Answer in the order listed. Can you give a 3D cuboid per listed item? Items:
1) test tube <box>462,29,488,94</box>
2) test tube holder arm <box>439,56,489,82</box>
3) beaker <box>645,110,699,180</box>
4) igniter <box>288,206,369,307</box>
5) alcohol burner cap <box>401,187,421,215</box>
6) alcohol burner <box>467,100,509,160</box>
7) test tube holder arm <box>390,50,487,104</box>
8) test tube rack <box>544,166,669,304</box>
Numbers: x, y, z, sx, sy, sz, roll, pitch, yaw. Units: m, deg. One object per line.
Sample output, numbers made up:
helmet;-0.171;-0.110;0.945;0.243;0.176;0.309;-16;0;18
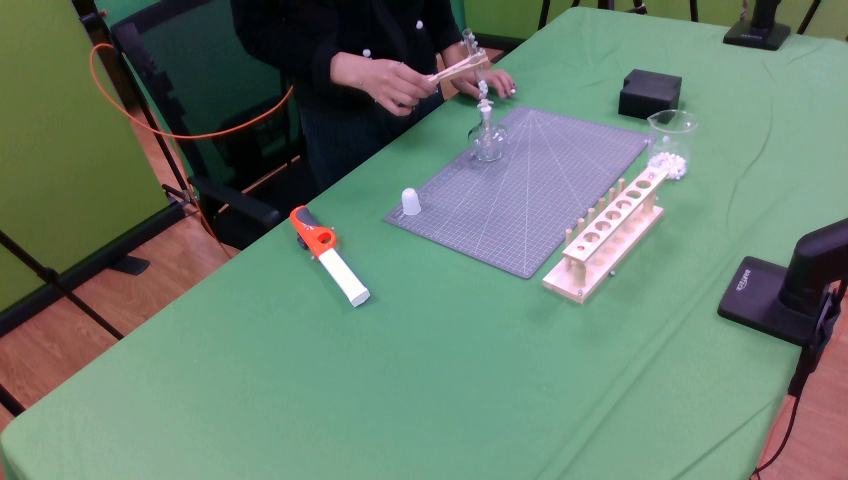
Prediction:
test tube;0.088;-0.296;1.013;0.017;0.151;0.017;-7;64;14
test tube holder arm;0.066;-0.286;1.013;0.087;0.015;0.010;-16;62;15
beaker;0.417;-0.160;1.032;0.083;0.101;0.074;25;51;35
igniter;-0.163;0.017;0.986;0.057;0.025;0.274;-33;45;-12
alcohol burner cap;-0.025;-0.070;1.048;0.034;0.048;0.033;-5;41;5
alcohol burner;0.118;-0.210;1.130;0.078;0.119;0.077;-5;42;5
test tube holder arm;0.024;-0.276;1.025;0.178;0.015;0.013;-23;60;11
test tube rack;0.274;-0.018;0.903;0.066;0.085;0.243;26;51;35
